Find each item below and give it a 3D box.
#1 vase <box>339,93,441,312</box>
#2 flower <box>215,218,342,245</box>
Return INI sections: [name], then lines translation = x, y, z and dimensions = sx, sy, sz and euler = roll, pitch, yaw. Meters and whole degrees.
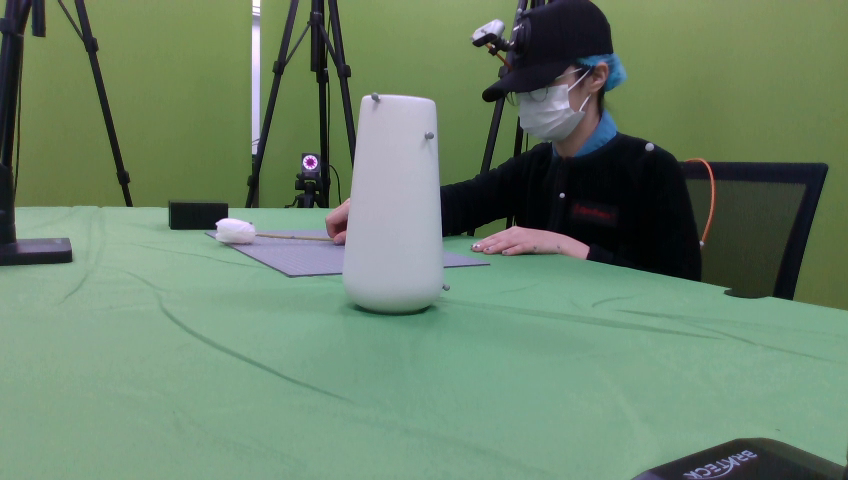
[vase]
translation = -0.032, -0.035, 0.577
dimensions = 0.098, 0.200, 0.098
euler = 1, 7, 0
[flower]
translation = -0.153, -0.001, 0.993
dimensions = 0.363, 0.038, 0.044
euler = 5, -32, -17
